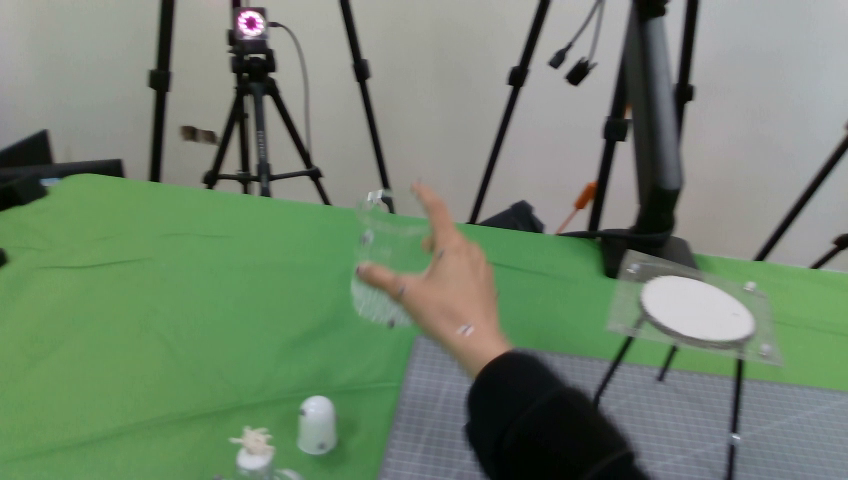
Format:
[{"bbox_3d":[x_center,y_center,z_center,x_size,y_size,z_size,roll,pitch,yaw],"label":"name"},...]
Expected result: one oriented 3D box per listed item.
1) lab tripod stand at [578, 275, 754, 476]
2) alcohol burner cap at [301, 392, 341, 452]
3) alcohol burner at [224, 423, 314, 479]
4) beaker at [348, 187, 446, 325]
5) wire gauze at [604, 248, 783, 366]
[{"bbox_3d":[0.217,0.109,0.516,0.148,0.132,0.147,5,30,-3],"label":"lab tripod stand"},{"bbox_3d":[-0.087,0.150,0.505,0.034,0.048,0.033,3,30,-1],"label":"alcohol burner cap"},{"bbox_3d":[-0.106,0.168,0.397,0.078,0.120,0.077,2,30,-1],"label":"alcohol burner"},{"bbox_3d":[-0.029,0.014,0.513,0.074,0.101,0.083,-19,38,-40],"label":"beaker"},{"bbox_3d":[0.214,0.050,0.484,0.121,0.011,0.124,15,31,17],"label":"wire gauze"}]
